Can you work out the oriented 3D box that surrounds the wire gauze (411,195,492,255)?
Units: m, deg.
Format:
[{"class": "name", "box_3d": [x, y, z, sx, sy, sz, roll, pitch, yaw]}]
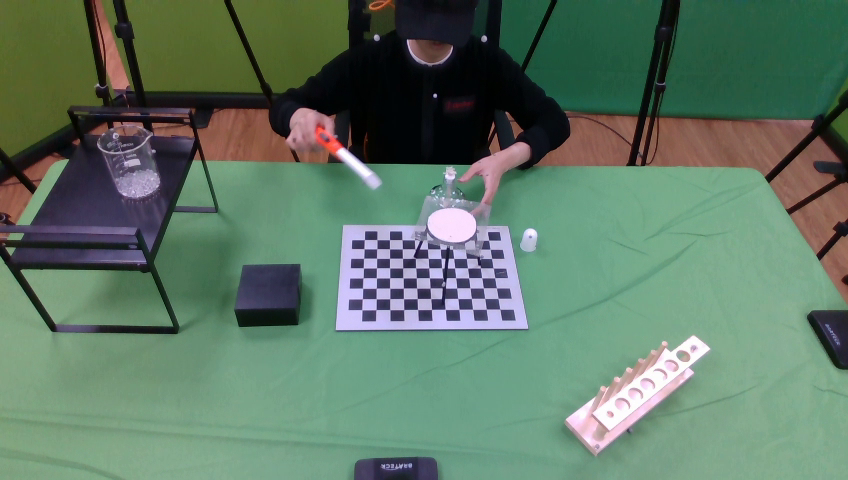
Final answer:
[{"class": "wire gauze", "box_3d": [0.049, -0.031, 1.051, 0.125, 0.011, 0.121, 12, 47, 9]}]

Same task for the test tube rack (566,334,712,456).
[{"class": "test tube rack", "box_3d": [0.338, 0.228, 0.950, 0.242, 0.085, 0.066, -26, 52, -26]}]

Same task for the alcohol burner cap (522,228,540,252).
[{"class": "alcohol burner cap", "box_3d": [0.214, -0.003, 1.198, 0.034, 0.048, 0.033, 1, 46, -1]}]

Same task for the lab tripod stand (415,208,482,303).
[{"class": "lab tripod stand", "box_3d": [0.043, 0.018, 1.097, 0.148, 0.132, 0.147, 0, 46, 0]}]

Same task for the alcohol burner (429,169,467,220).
[{"class": "alcohol burner", "box_3d": [0.050, -0.098, 1.230, 0.078, 0.119, 0.077, 3, 46, -3]}]

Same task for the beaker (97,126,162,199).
[{"class": "beaker", "box_3d": [-0.468, -0.124, 0.979, 0.084, 0.101, 0.073, -25, 53, -26]}]

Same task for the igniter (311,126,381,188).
[{"class": "igniter", "box_3d": [-0.150, -0.159, 1.110, 0.025, 0.057, 0.274, -43, 40, -5]}]
